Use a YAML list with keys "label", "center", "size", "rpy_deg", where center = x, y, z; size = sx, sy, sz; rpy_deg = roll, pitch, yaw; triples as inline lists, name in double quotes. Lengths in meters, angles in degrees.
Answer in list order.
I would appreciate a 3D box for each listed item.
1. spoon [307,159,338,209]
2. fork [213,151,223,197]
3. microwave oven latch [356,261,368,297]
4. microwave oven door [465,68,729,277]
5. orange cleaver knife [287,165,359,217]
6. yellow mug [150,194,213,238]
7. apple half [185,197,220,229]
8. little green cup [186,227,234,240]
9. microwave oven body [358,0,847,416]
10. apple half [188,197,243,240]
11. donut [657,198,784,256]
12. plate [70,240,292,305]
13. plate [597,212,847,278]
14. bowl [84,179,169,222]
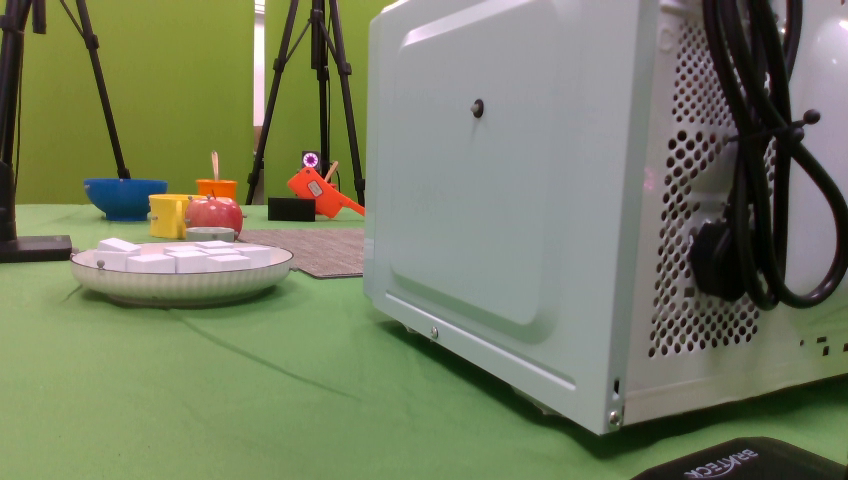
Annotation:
- label: "spoon"
  center: [-0.257, -0.147, 1.567]
  size: [0.041, 0.022, 0.193]
  rpy_deg: [2, 50, 19]
- label: "fork"
  center: [-0.494, -0.143, 1.442]
  size: [0.028, 0.018, 0.206]
  rpy_deg: [-2, 52, -20]
- label: "microwave oven latch"
  center: [-0.020, 0.033, 0.531]
  size: [0.079, 0.029, 0.030]
  rpy_deg: [-1, 7, -27]
- label: "microwave oven door"
  center: [0.207, -0.096, 0.814]
  size: [0.354, 0.243, 0.039]
  rpy_deg: [9, 11, 42]
- label: "orange cleaver knife"
  center: [-0.211, -0.093, 1.382]
  size: [0.212, 0.077, 0.012]
  rpy_deg: [33, 1, -15]
- label: "yellow mug"
  center: [-0.401, -0.040, 1.003]
  size: [0.100, 0.064, 0.130]
  rpy_deg: [-1, 9, -20]
- label: "apple half"
  center: [-0.338, -0.031, 0.927]
  size: [0.032, 0.081, 0.081]
  rpy_deg: [12, 12, 31]
- label: "little green cup"
  center: [-0.284, 0.005, 0.805]
  size: [0.061, 0.038, 0.061]
  rpy_deg: [2, 8, 0]
- label: "microwave oven body"
  center: [0.211, -0.047, 0.475]
  size: [0.444, 0.260, 0.324]
  rpy_deg: [-1, 7, -28]
- label: "apple half"
  center: [-0.305, -0.026, 0.907]
  size: [0.053, 0.074, 0.081]
  rpy_deg: [12, 8, 31]
- label: "donut"
  center: [0.251, -0.010, 0.518]
  size: [0.099, 0.048, 0.099]
  rpy_deg: [3, 6, 0]
- label: "plate"
  center: [-0.242, 0.031, 0.618]
  size: [0.208, 0.039, 0.207]
  rpy_deg: [2, 8, 0]
- label: "plate"
  center: [0.255, 0.001, 0.519]
  size: [0.209, 0.038, 0.209]
  rpy_deg: [3, 7, 0]
- label: "bowl"
  center: [-0.584, -0.078, 1.194]
  size: [0.151, 0.077, 0.151]
  rpy_deg: [3, 8, 0]
